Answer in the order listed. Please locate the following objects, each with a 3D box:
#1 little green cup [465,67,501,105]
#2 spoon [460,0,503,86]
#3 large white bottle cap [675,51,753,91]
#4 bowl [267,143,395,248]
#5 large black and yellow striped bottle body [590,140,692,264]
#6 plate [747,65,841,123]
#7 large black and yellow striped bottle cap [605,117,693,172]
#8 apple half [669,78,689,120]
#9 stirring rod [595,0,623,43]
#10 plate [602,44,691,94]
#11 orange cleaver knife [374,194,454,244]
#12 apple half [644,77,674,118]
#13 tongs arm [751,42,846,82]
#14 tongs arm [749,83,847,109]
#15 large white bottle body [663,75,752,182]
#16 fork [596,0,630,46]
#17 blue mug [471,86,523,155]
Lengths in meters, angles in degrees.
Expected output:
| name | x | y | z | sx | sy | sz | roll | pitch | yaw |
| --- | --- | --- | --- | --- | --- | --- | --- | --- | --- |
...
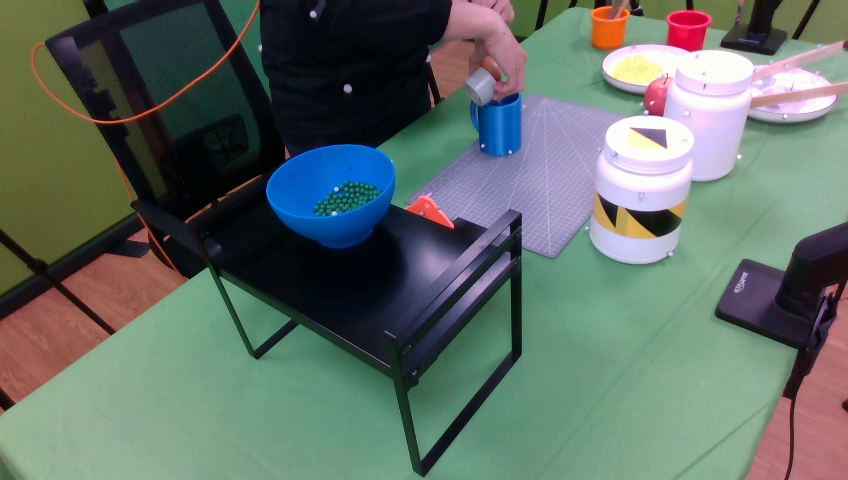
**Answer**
| name | x | y | z | sx | sy | sz | roll | pitch | yaw |
| --- | --- | --- | --- | --- | --- | --- | --- | --- | --- |
| little green cup | 0.104 | -0.274 | 1.083 | 0.038 | 0.062 | 0.061 | -42 | 47 | -4 |
| spoon | 0.097 | -0.366 | 1.098 | 0.041 | 0.022 | 0.193 | -22 | 81 | 19 |
| large white bottle cap | 0.463 | -0.271 | 0.967 | 0.115 | 0.018 | 0.114 | -4 | 40 | 3 |
| bowl | -0.104 | -0.043 | 0.726 | 0.151 | 0.077 | 0.150 | -4 | 41 | 4 |
| large black and yellow striped bottle body | 0.317 | -0.071 | 0.889 | 0.131 | 0.185 | 0.130 | -4 | 41 | 4 |
| plate | 0.695 | -0.282 | 1.189 | 0.207 | 0.039 | 0.206 | -4 | 40 | 4 |
| large black and yellow striped bottle cap | 0.309 | -0.134 | 0.833 | 0.115 | 0.019 | 0.114 | -5 | 40 | 5 |
| apple half | 0.498 | -0.273 | 1.180 | 0.032 | 0.082 | 0.081 | 7 | 42 | 25 |
| stirring rod | 0.460 | -0.556 | 1.460 | 0.014 | 0.006 | 0.176 | 30 | 93 | 23 |
| plate | 0.495 | -0.367 | 1.317 | 0.209 | 0.038 | 0.208 | -4 | 40 | 4 |
| orange cleaver knife | -0.032 | -0.026 | 0.965 | 0.210 | 0.077 | 0.012 | -9 | 29 | 51 |
| apple half | 0.463 | -0.279 | 1.194 | 0.053 | 0.075 | 0.081 | 8 | 46 | 24 |
| tongs arm | 0.708 | -0.331 | 1.193 | 0.386 | 0.026 | 0.050 | -18 | 45 | -16 |
| tongs arm | 0.734 | -0.280 | 1.133 | 0.388 | 0.028 | 0.028 | -9 | 47 | -5 |
| large white bottle body | 0.472 | -0.207 | 1.022 | 0.130 | 0.185 | 0.130 | -4 | 41 | 4 |
| fork | 0.481 | -0.556 | 1.452 | 0.028 | 0.019 | 0.207 | 40 | 103 | 40 |
| blue mug | 0.135 | -0.235 | 1.163 | 0.082 | 0.106 | 0.115 | -36 | 48 | -28 |
